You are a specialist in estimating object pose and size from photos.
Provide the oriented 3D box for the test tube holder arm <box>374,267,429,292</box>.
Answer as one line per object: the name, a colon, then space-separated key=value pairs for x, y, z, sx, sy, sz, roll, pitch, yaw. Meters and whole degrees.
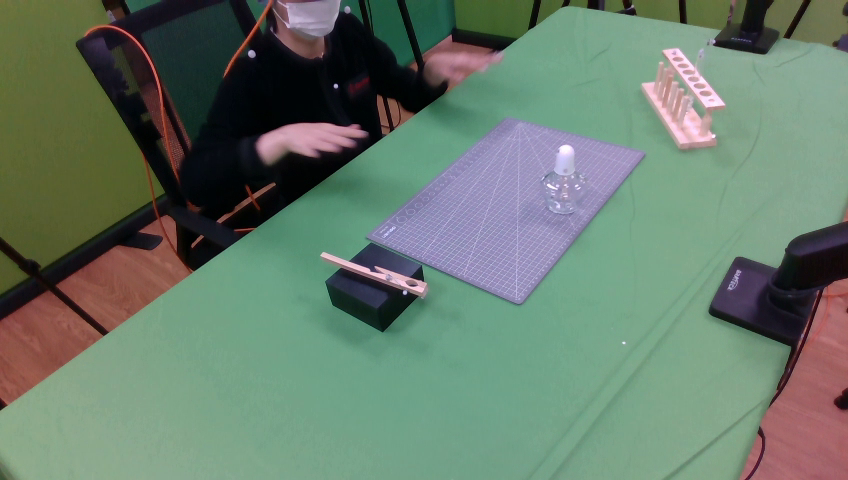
test tube holder arm: x=-0.034 y=0.056 z=0.839 sx=0.087 sy=0.015 sz=0.010 roll=15 pitch=52 yaw=25

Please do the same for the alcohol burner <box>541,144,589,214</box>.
alcohol burner: x=0.229 y=-0.102 z=0.983 sx=0.078 sy=0.119 sz=0.077 roll=-6 pitch=41 yaw=5

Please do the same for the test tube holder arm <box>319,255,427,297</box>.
test tube holder arm: x=-0.076 y=0.049 z=0.855 sx=0.177 sy=0.015 sz=0.013 roll=14 pitch=51 yaw=24

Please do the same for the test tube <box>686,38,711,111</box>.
test tube: x=0.508 y=-0.305 z=1.128 sx=0.017 sy=0.151 sz=0.017 roll=-2 pitch=46 yaw=3

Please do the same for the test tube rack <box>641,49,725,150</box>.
test tube rack: x=0.495 y=-0.279 z=1.175 sx=0.067 sy=0.085 sz=0.241 roll=-5 pitch=41 yaw=3

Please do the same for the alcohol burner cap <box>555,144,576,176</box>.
alcohol burner cap: x=0.225 y=-0.129 z=0.958 sx=0.034 sy=0.048 sz=0.033 roll=-4 pitch=43 yaw=5
